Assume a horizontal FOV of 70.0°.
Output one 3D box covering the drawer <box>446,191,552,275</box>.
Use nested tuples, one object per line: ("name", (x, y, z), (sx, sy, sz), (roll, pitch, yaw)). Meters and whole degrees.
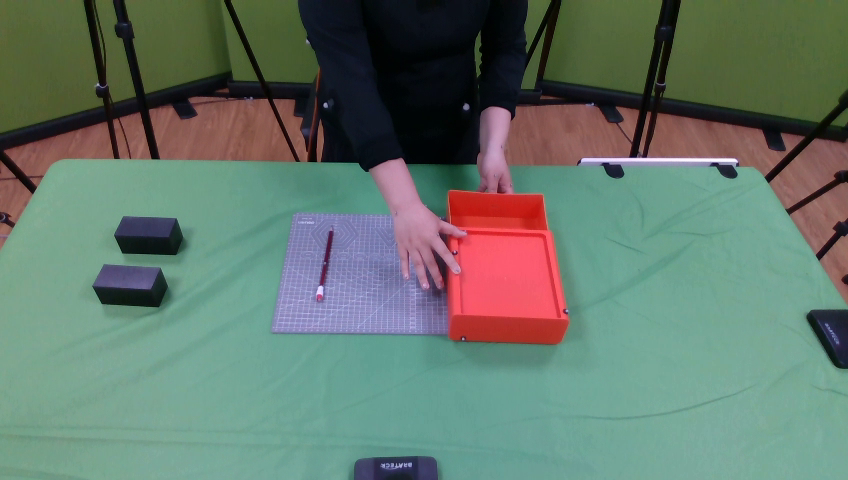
("drawer", (0.140, 0.002, 1.161), (0.194, 0.073, 0.210), (3, 47, -2))

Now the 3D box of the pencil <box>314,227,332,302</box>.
("pencil", (-0.189, 0.041, 1.148), (0.012, 0.012, 0.193), (3, 44, -1))

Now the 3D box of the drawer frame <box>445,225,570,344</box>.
("drawer frame", (0.142, 0.076, 1.089), (0.202, 0.083, 0.212), (3, 46, -3))
